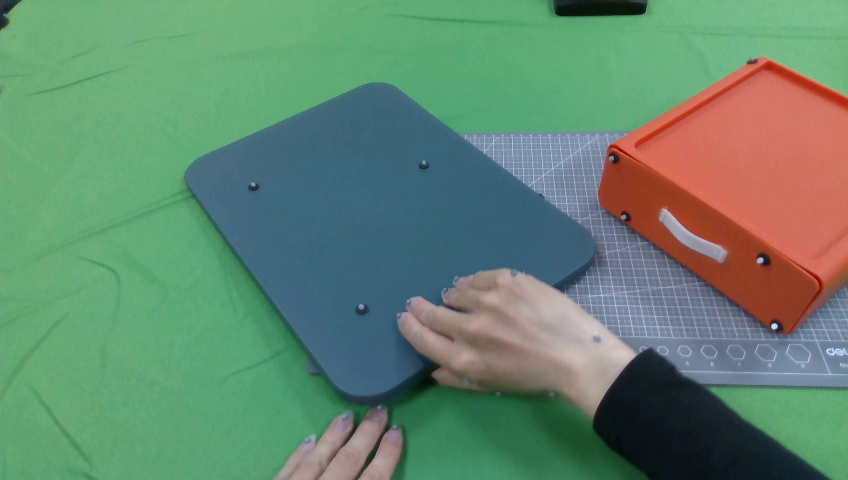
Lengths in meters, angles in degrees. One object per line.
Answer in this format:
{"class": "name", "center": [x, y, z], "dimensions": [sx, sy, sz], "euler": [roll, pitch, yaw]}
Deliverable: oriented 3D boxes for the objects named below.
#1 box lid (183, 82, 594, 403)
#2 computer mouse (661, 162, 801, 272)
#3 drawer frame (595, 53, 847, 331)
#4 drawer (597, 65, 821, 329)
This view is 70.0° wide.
{"class": "box lid", "center": [-0.050, -0.033, 0.581], "dimensions": [0.263, 0.015, 0.367], "euler": [-30, 51, -22]}
{"class": "computer mouse", "center": [0.269, -0.025, 0.529], "dimensions": [0.063, 0.041, 0.116], "euler": [-29, 60, -24]}
{"class": "drawer frame", "center": [0.300, -0.056, 0.533], "dimensions": [0.213, 0.083, 0.199], "euler": [-31, 54, -22]}
{"class": "drawer", "center": [0.298, -0.053, 0.533], "dimensions": [0.212, 0.074, 0.192], "euler": [-30, 53, -22]}
